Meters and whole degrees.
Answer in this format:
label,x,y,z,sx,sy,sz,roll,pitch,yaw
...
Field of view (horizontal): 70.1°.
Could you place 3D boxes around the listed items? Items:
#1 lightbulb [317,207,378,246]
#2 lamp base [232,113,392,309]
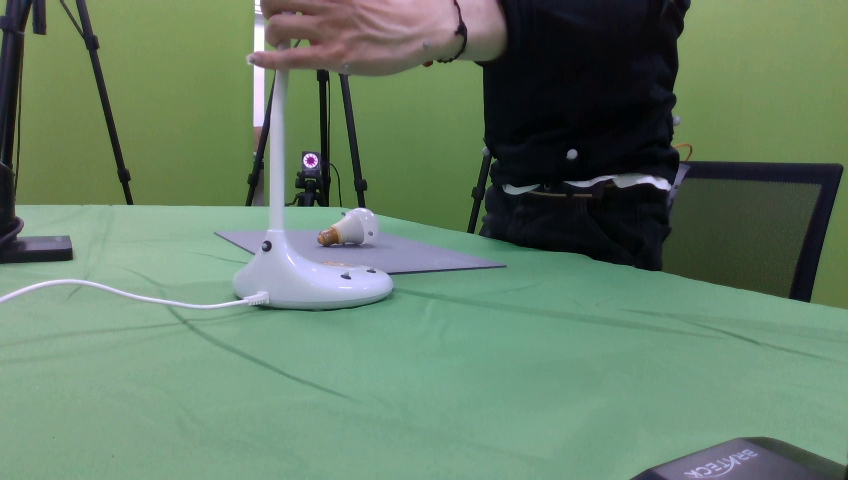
label,x,y,z,sx,sy,sz,roll,pitch,yaw
lightbulb,-0.123,-0.016,0.967,0.108,0.059,0.059,-21,20,-33
lamp base,-0.114,-0.032,0.594,0.160,0.180,0.179,4,10,17
